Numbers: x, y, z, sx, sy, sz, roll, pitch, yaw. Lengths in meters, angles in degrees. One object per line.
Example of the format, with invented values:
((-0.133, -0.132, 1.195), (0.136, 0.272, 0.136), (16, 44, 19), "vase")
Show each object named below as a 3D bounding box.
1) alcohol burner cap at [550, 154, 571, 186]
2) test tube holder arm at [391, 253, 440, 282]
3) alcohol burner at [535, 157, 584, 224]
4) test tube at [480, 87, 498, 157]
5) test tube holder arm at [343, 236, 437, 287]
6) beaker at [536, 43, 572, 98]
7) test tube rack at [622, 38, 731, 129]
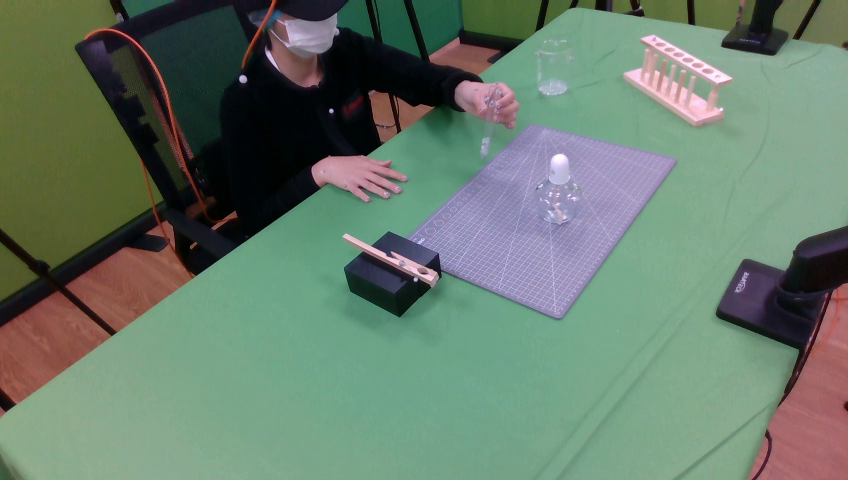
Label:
((0.212, -0.112, 0.944), (0.034, 0.048, 0.033), (-6, 44, 7), "alcohol burner cap")
((-0.015, 0.039, 0.858), (0.087, 0.015, 0.010), (22, 57, 32), "test tube holder arm")
((0.217, -0.085, 0.967), (0.078, 0.119, 0.077), (-3, 41, 3), "alcohol burner")
((0.110, -0.199, 1.037), (0.017, 0.150, 0.017), (1, 52, -1), "test tube")
((-0.054, 0.029, 0.879), (0.177, 0.015, 0.013), (22, 56, 32), "test tube holder arm")
((0.280, -0.368, 1.311), (0.074, 0.101, 0.084), (4, 41, 14), "beaker")
((0.506, -0.325, 1.234), (0.067, 0.085, 0.240), (-18, 41, -11), "test tube rack")
